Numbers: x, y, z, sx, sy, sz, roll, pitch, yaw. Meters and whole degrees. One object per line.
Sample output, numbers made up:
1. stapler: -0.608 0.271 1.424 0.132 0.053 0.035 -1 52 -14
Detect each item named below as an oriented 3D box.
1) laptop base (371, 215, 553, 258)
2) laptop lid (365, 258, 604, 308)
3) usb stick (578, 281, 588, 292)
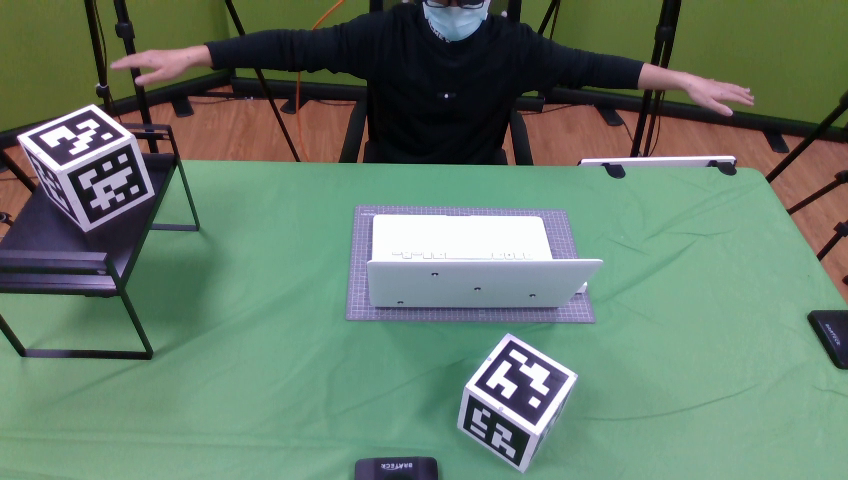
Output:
1. laptop base: 0.075 0.037 1.167 0.355 0.023 0.234 0 43 -4
2. laptop lid: 0.085 0.074 0.978 0.357 0.242 0.013 1 67 -5
3. usb stick: 0.271 0.082 1.119 0.059 0.027 0.021 -2 48 -1
